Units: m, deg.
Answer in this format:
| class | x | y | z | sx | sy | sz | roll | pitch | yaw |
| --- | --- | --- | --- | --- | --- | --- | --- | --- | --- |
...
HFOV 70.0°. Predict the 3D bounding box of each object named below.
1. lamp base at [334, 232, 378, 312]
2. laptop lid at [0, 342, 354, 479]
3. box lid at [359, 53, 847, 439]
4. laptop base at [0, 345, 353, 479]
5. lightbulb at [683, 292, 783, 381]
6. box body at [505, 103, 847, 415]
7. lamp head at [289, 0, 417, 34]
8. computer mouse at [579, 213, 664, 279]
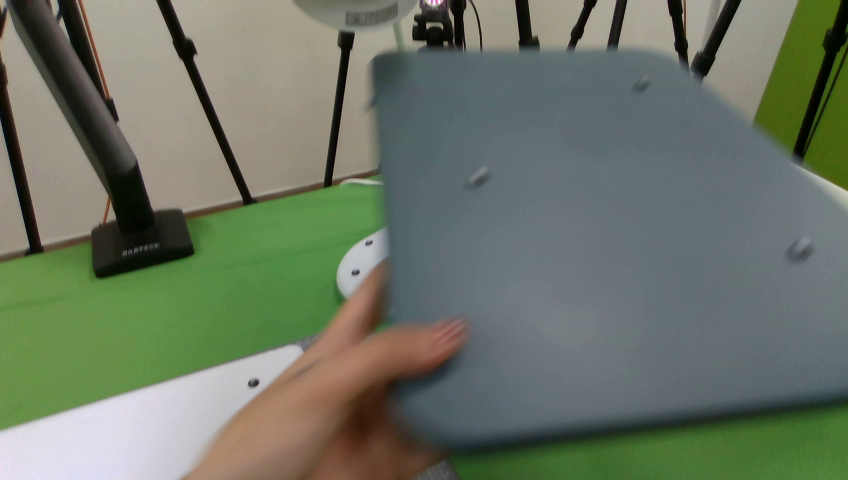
| class | x | y | z | sx | sy | sz | roll | pitch | yaw |
| --- | --- | --- | --- | --- | --- | --- | --- | --- | --- |
| lamp base | -0.029 | -0.035 | 0.706 | 0.160 | 0.181 | 0.178 | 4 | 32 | 8 |
| laptop lid | -0.242 | 0.205 | 0.475 | 0.358 | 0.013 | 0.239 | -14 | 38 | -18 |
| box lid | 0.096 | -0.045 | 0.378 | 0.264 | 0.015 | 0.367 | -3 | 37 | -7 |
| laptop base | -0.242 | 0.213 | 0.483 | 0.355 | 0.023 | 0.232 | -14 | 39 | -20 |
| lightbulb | 0.312 | 0.098 | 0.608 | 0.059 | 0.060 | 0.107 | -27 | 62 | -33 |
| box body | 0.266 | -0.005 | 0.670 | 0.255 | 0.162 | 0.360 | -11 | 35 | -15 |
| lamp head | -0.056 | -0.248 | 0.493 | 0.112 | 0.113 | 0.122 | 0 | 59 | 2 |
| computer mouse | 0.247 | 0.003 | 0.759 | 0.063 | 0.041 | 0.116 | -9 | 39 | -16 |
